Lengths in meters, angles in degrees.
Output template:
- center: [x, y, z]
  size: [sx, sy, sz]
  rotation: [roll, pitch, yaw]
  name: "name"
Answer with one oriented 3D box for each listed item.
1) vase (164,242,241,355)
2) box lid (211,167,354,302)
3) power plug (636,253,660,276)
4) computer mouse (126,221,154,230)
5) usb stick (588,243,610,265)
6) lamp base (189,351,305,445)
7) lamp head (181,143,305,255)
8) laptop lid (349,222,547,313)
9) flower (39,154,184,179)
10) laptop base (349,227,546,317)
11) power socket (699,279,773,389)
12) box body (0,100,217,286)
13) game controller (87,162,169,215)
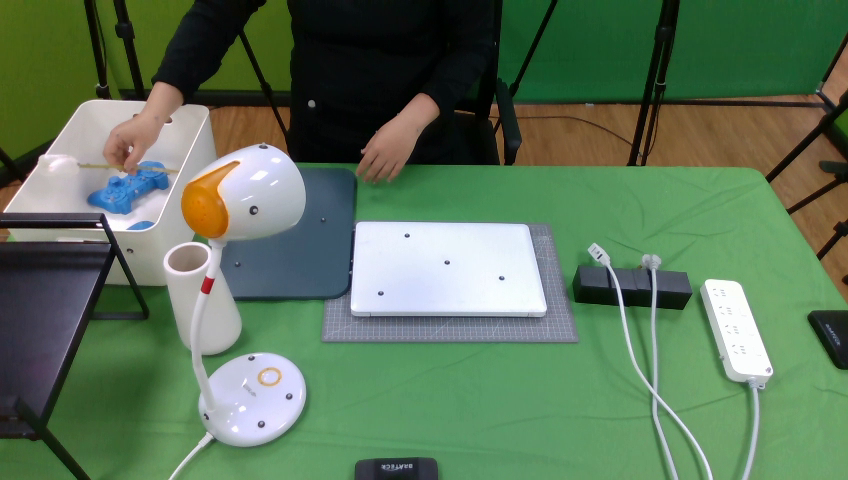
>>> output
- center: [-0.349, 0.096, 0.954]
  size: [0.098, 0.201, 0.097]
  rotation: [3, 47, -3]
  name: "vase"
- center: [-0.277, -0.024, 1.205]
  size: [0.263, 0.015, 0.369]
  rotation: [0, 46, -4]
  name: "box lid"
- center: [0.415, 0.050, 1.139]
  size: [0.035, 0.053, 0.072]
  rotation: [46, 49, 10]
  name: "power plug"
- center: [-0.537, 0.008, 1.127]
  size: [0.062, 0.041, 0.117]
  rotation: [32, 55, 20]
  name: "computer mouse"
- center: [0.336, 0.024, 1.172]
  size: [0.027, 0.021, 0.059]
  rotation: [33, 17, -12]
  name: "usb stick"
- center: [-0.268, 0.196, 0.876]
  size: [0.160, 0.181, 0.179]
  rotation: [26, 52, 20]
  name: "lamp base"
- center: [-0.216, -0.044, 0.697]
  size: [0.112, 0.113, 0.123]
  rotation: [23, 31, 17]
  name: "lamp head"
- center: [0.041, 0.045, 1.143]
  size: [0.357, 0.013, 0.240]
  rotation: [2, 44, -3]
  name: "laptop lid"
- center: [-0.539, -0.138, 1.132]
  size: [0.044, 0.038, 0.362]
  rotation: [40, 19, 12]
  name: "flower"
- center: [0.040, 0.055, 1.149]
  size: [0.355, 0.023, 0.234]
  rotation: [1, 42, -4]
  name: "laptop base"
- center: [0.551, 0.157, 1.081]
  size: [0.072, 0.033, 0.225]
  rotation: [5, 46, 1]
  name: "power socket"
- center: [-0.560, -0.092, 1.145]
  size: [0.254, 0.161, 0.361]
  rotation: [3, 46, -2]
  name: "box body"
- center: [-0.598, -0.113, 1.234]
  size: [0.097, 0.052, 0.155]
  rotation: [29, 51, 20]
  name: "game controller"
